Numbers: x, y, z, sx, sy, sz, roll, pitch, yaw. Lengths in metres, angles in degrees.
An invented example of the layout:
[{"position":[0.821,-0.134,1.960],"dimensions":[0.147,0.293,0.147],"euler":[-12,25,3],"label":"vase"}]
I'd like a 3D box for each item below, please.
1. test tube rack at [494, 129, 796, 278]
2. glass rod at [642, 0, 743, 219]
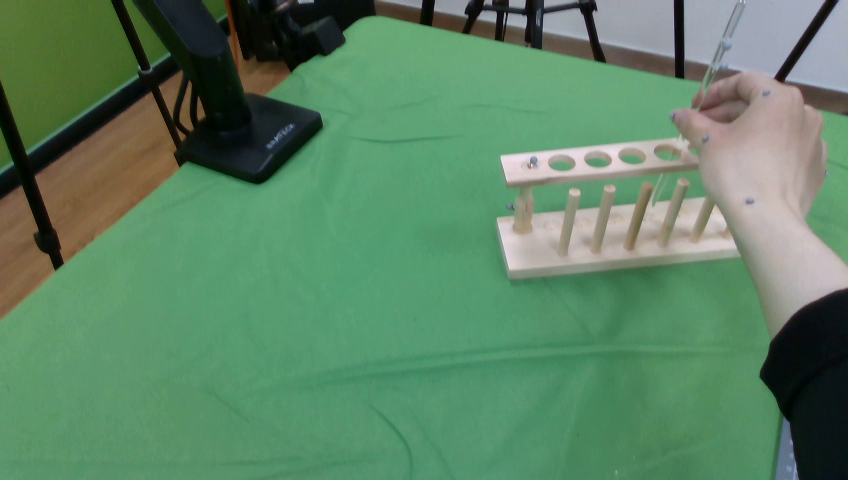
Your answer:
[{"position":[0.186,-0.031,0.520],"dimensions":[0.242,0.086,0.066],"euler":[-6,47,-2],"label":"test tube rack"},{"position":[0.210,-0.092,0.485],"dimensions":[0.008,0.201,0.008],"euler":[3,43,-3],"label":"glass rod"}]
